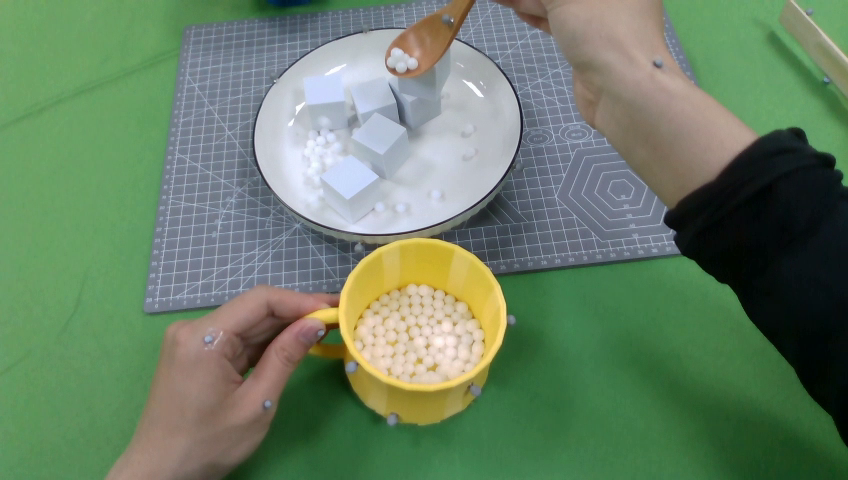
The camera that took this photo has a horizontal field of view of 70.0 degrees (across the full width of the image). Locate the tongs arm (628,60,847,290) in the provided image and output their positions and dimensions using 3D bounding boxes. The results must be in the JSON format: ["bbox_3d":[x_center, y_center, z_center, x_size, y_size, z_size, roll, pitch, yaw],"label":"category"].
[{"bbox_3d":[0.281,-0.006,0.428,0.028,0.028,0.384,-30,64,-16],"label":"tongs arm"}]

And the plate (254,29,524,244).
[{"bbox_3d":[-0.027,-0.083,0.481,0.207,0.039,0.206,-1,60,3],"label":"plate"}]

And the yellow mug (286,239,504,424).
[{"bbox_3d":[-0.020,0.058,0.377,0.131,0.064,0.099,-3,57,-7],"label":"yellow mug"}]

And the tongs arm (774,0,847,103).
[{"bbox_3d":[0.355,-0.038,0.439,0.051,0.027,0.381,-19,63,-7],"label":"tongs arm"}]

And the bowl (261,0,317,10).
[{"bbox_3d":[-0.135,-0.277,0.577,0.151,0.077,0.150,-2,60,3],"label":"bowl"}]

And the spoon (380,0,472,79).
[{"bbox_3d":[0.042,-0.165,0.379,0.194,0.022,0.041,-34,60,36],"label":"spoon"}]
